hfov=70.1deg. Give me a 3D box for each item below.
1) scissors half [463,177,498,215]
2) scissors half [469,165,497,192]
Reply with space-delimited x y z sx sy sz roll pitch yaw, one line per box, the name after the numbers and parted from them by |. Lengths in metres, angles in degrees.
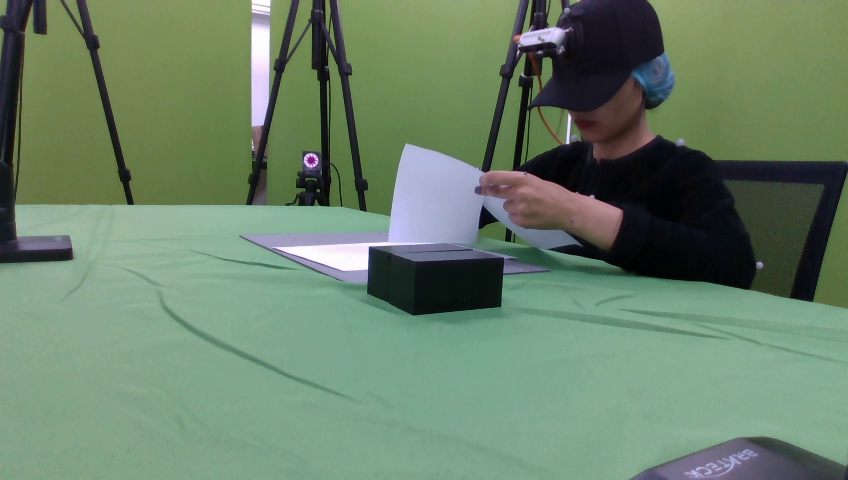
0.092 -0.075 0.992 0.013 0.040 0.175 15 -16 -9 | scissors half
0.097 -0.097 0.993 0.013 0.040 0.175 10 13 -9 | scissors half
